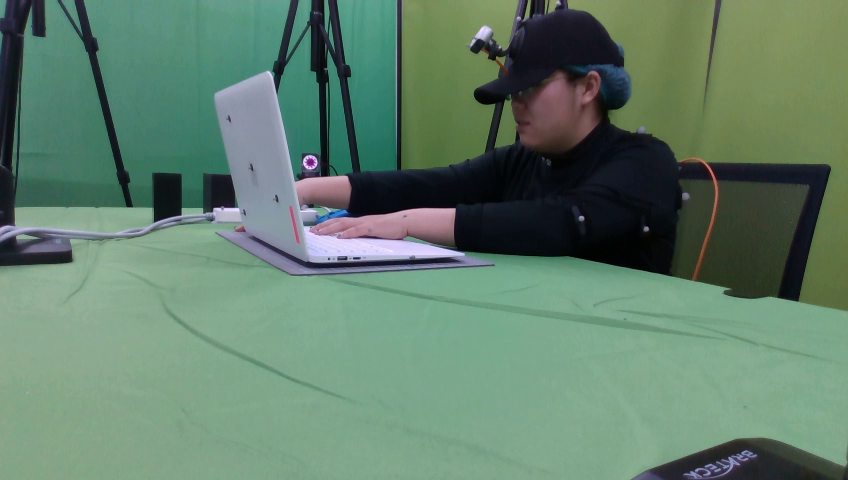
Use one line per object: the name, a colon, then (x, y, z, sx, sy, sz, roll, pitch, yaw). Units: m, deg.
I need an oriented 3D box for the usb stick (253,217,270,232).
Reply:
usb stick: (-0.290, -0.028, 1.084, 0.021, 0.027, 0.059, 2, 4, -26)

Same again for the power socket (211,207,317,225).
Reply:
power socket: (-0.334, -0.051, 1.282, 0.228, 0.032, 0.072, -1, 9, -28)

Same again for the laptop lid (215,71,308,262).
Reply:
laptop lid: (-0.245, -0.105, 0.870, 0.013, 0.241, 0.355, -15, 16, -27)

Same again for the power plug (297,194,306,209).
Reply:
power plug: (-0.282, -0.076, 1.340, 0.035, 0.052, 0.072, 4, 6, -18)

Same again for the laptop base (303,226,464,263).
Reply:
laptop base: (-0.125, 0.007, 0.955, 0.237, 0.023, 0.352, 3, 6, -30)

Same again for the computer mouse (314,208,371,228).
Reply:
computer mouse: (-0.173, -0.046, 1.285, 0.118, 0.041, 0.062, -6, 11, -29)
